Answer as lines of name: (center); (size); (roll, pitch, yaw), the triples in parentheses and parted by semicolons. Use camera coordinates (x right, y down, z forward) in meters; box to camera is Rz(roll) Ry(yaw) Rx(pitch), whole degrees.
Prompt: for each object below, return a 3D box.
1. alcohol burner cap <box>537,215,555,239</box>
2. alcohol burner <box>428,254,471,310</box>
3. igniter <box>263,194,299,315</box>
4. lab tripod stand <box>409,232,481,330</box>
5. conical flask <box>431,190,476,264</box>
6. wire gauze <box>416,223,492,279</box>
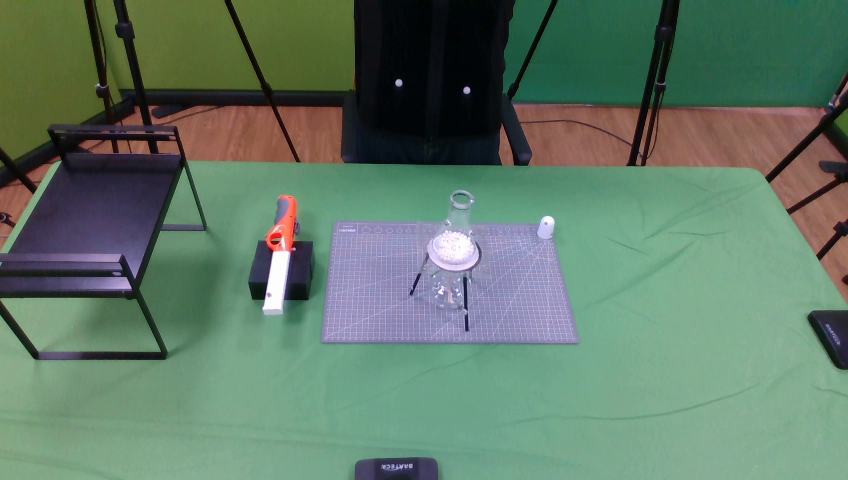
alcohol burner cap: (0.250, -0.029, 1.228); (0.034, 0.048, 0.033); (1, 48, -1)
alcohol burner: (0.046, 0.068, 1.069); (0.078, 0.119, 0.077); (3, 45, -3)
igniter: (-0.259, 0.016, 1.093); (0.057, 0.025, 0.274); (-3, 49, -2)
lab tripod stand: (0.051, 0.064, 1.060); (0.148, 0.132, 0.147); (4, 46, -4)
conical flask: (0.052, -0.025, 0.971); (0.075, 0.122, 0.075); (3, 48, -3)
wire gauze: (0.048, 0.016, 1.014); (0.125, 0.011, 0.120); (1, 45, -1)
